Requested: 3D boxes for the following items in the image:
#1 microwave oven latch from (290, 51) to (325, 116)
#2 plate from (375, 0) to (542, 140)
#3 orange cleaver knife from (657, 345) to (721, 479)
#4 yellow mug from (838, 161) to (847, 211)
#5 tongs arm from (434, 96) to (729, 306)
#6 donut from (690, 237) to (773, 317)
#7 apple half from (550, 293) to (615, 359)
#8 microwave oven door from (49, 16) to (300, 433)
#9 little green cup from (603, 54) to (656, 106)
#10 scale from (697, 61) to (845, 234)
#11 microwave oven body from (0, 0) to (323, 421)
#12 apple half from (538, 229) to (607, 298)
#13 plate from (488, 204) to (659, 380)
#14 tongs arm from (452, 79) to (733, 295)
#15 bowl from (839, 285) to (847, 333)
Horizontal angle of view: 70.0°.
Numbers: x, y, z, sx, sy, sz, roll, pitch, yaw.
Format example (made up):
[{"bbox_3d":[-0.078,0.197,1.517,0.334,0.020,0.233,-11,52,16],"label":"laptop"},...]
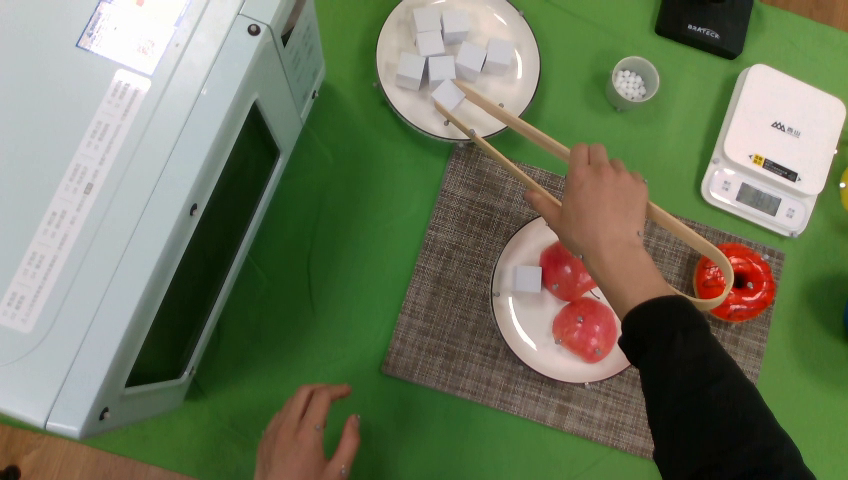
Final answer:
[{"bbox_3d":[-0.144,-0.191,0.724,0.030,0.029,0.079,24,81,-2],"label":"microwave oven latch"},{"bbox_3d":[0.043,-0.223,0.765,0.208,0.039,0.207,1,82,-5],"label":"plate"},{"bbox_3d":[0.323,0.233,0.731,0.077,0.012,0.210,1,80,-10],"label":"orange cleaver knife"},{"bbox_3d":[0.600,-0.088,0.783,0.100,0.064,0.130,-14,82,-7],"label":"yellow mug"},{"bbox_3d":[0.147,-0.059,0.647,0.051,0.027,0.381,-40,62,-7],"label":"tongs arm"},{"bbox_3d":[0.378,0.046,0.750,0.099,0.048,0.098,0,82,-3],"label":"donut"},{"bbox_3d":[0.194,0.100,0.722,0.081,0.033,0.081,0,82,-1],"label":"apple half"},{"bbox_3d":[-0.216,-0.005,0.587,0.039,0.244,0.355,21,80,-2],"label":"microwave oven door"},{"bbox_3d":[0.263,-0.204,0.783,0.061,0.039,0.061,1,81,-5],"label":"little green cup"},{"bbox_3d":[0.454,-0.122,0.792,0.149,0.031,0.200,23,81,-1],"label":"scale"},{"bbox_3d":[-0.337,-0.097,0.595,0.326,0.260,0.440,21,81,-2],"label":"microwave oven body"},{"bbox_3d":[0.180,0.024,0.722,0.081,0.053,0.074,-25,82,-8],"label":"apple half"},{"bbox_3d":[0.177,0.062,0.732,0.209,0.038,0.208,1,82,-5],"label":"plate"},{"bbox_3d":[0.163,-0.075,0.651,0.028,0.028,0.384,-42,62,-12],"label":"tongs arm"},{"bbox_3d":[0.578,0.089,0.750,0.151,0.077,0.151,1,82,-5],"label":"bowl"}]
